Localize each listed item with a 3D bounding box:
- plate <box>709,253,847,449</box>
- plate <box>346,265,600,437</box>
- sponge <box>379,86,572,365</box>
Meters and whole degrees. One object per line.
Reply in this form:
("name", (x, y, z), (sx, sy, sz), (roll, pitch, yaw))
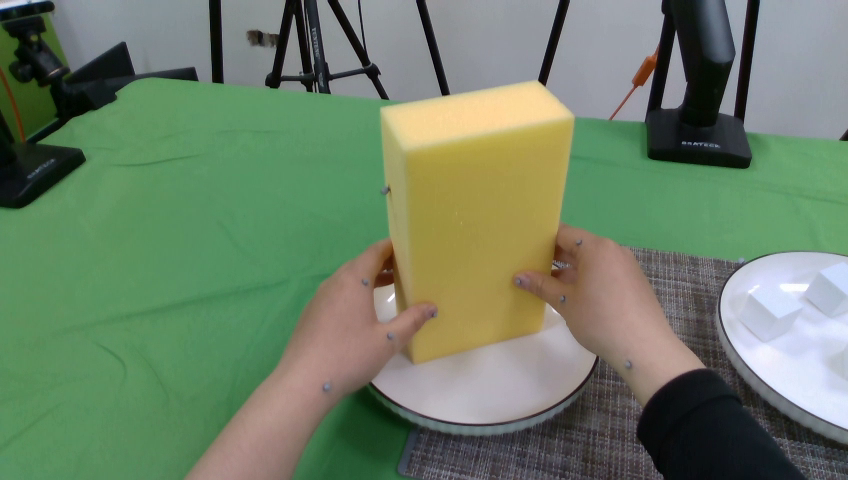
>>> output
("plate", (0.337, 0.090, 0.488), (0.208, 0.039, 0.205), (-1, 38, 1))
("plate", (0.040, 0.081, 0.511), (0.209, 0.038, 0.207), (-1, 38, 1))
("sponge", (0.034, -0.003, 0.467), (0.118, 0.208, 0.060), (-12, 42, -13))
